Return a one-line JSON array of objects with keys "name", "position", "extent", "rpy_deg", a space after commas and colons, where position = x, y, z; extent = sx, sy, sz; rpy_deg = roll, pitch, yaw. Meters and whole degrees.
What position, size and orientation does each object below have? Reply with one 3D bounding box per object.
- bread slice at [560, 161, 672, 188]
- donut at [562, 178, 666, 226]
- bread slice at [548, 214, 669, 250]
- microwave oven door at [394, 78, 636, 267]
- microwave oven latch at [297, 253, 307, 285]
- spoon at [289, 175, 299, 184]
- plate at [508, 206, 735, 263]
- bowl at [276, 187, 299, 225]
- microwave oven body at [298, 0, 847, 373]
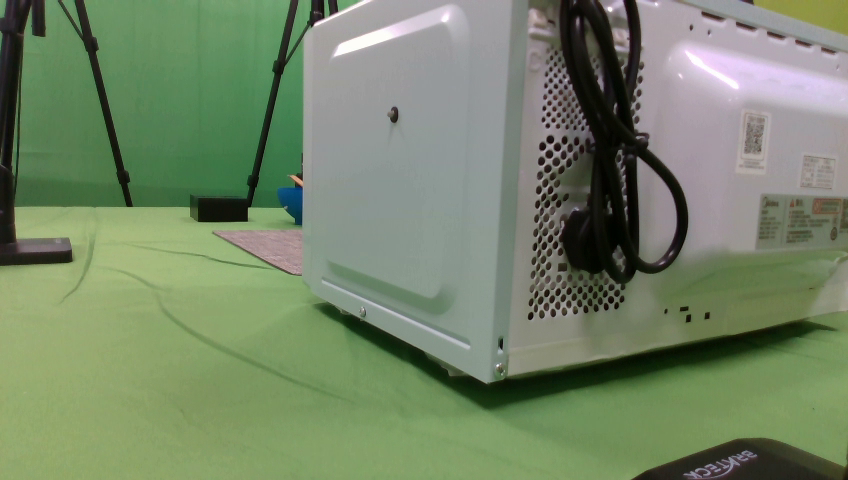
[{"name": "bread slice", "position": [0.184, -0.063, 0.580], "extent": [0.104, 0.019, 0.132], "rpy_deg": [6, 5, 15]}, {"name": "donut", "position": [0.184, -0.037, 0.588], "extent": [0.099, 0.048, 0.099], "rpy_deg": [0, 3, 0]}, {"name": "bread slice", "position": [0.181, -0.007, 0.587], "extent": [0.107, 0.018, 0.134], "rpy_deg": [-6, -6, 5]}, {"name": "microwave oven door", "position": [0.113, -0.102, 0.869], "extent": [0.354, 0.243, 0.039], "rpy_deg": [7, 9, 32]}, {"name": "microwave oven latch", "position": [-0.082, 0.027, 0.582], "extent": [0.079, 0.029, 0.030], "rpy_deg": [-1, 7, -32]}, {"name": "spoon", "position": [-0.260, -0.110, 1.343], "extent": [0.042, 0.021, 0.192], "rpy_deg": [-8, 33, -30]}, {"name": "plate", "position": [0.186, -0.007, 0.590], "extent": [0.208, 0.039, 0.207], "rpy_deg": [2, 7, 0]}, {"name": "bowl", "position": [-0.241, -0.073, 1.302], "extent": [0.151, 0.077, 0.151], "rpy_deg": [2, 7, 0]}, {"name": "microwave oven body", "position": [0.151, -0.055, 0.543], "extent": [0.444, 0.260, 0.324], "rpy_deg": [-1, 7, -33]}]
